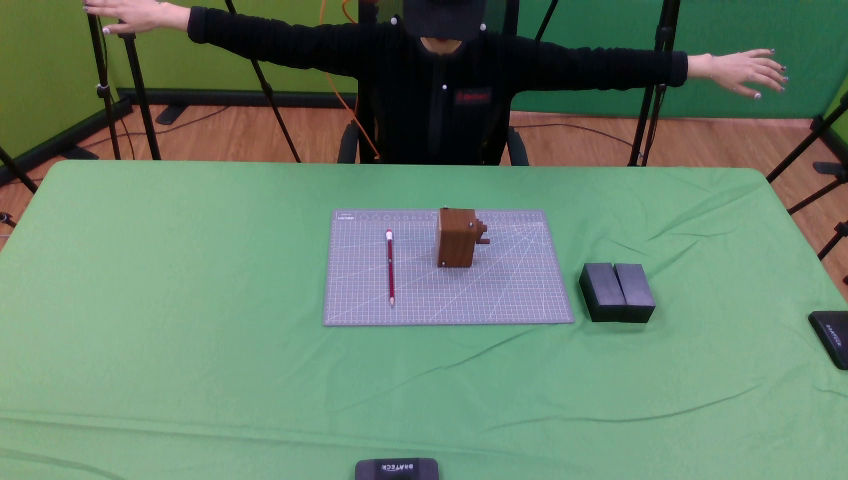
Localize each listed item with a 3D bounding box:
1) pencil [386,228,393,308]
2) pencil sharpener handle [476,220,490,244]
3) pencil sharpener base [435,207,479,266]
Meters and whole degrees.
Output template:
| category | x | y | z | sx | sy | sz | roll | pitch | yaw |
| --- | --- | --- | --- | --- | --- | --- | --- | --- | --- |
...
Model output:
| category | x | y | z | sx | sy | sz | roll | pitch | yaw |
| --- | --- | --- | --- | --- | --- | --- | --- | --- | --- |
| pencil | -0.065 | 0.050 | 1.152 | 0.012 | 0.012 | 0.193 | -1 | 48 | -4 |
| pencil sharpener handle | 0.113 | -0.014 | 1.140 | 0.031 | 0.068 | 0.036 | 1 | 56 | -3 |
| pencil sharpener base | 0.061 | -0.004 | 1.144 | 0.077 | 0.107 | 0.061 | 1 | 46 | -4 |
